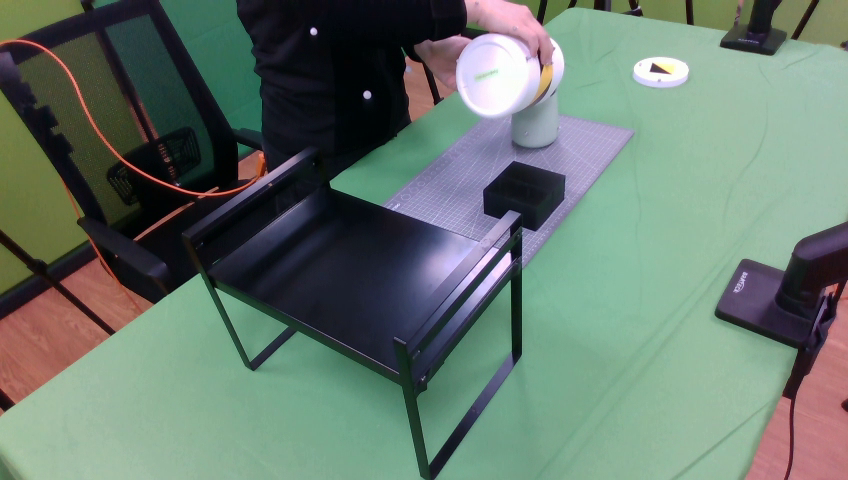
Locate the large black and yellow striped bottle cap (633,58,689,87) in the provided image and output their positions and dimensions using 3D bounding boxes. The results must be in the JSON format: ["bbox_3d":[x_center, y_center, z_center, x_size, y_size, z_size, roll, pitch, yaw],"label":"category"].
[{"bbox_3d":[0.522,-0.370,1.331,0.115,0.019,0.114,-3,41,3],"label":"large black and yellow striped bottle cap"}]

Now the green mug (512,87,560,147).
[{"bbox_3d":[0.217,-0.251,1.169,0.092,0.105,0.125,2,41,12],"label":"green mug"}]

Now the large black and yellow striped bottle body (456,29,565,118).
[{"bbox_3d":[0.153,-0.286,1.024,0.130,0.131,0.185,20,30,28],"label":"large black and yellow striped bottle body"}]
